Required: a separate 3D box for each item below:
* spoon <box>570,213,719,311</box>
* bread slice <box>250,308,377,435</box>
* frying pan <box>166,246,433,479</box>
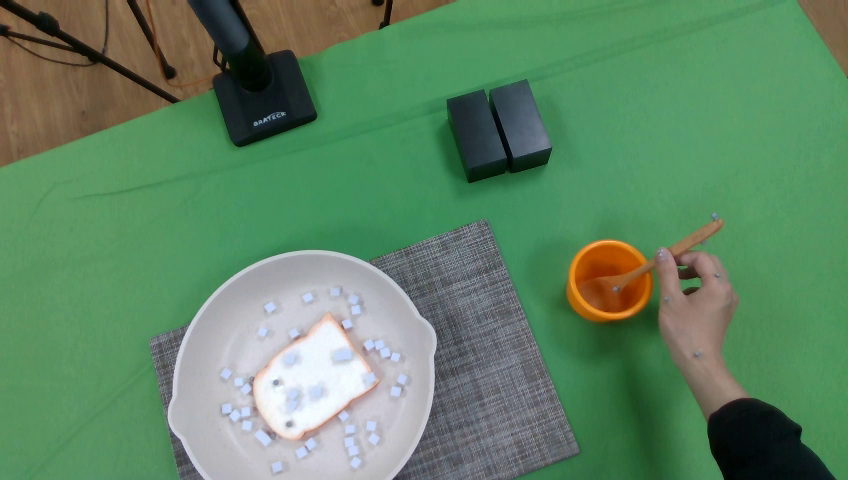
[{"bbox_3d":[0.241,0.027,0.677,0.022,0.194,0.041,-23,77,-49],"label":"spoon"},{"bbox_3d":[-0.136,0.164,0.721,0.134,0.018,0.106,-40,76,-10],"label":"bread slice"},{"bbox_3d":[-0.106,0.244,0.655,0.307,0.103,0.483,-17,66,-1],"label":"frying pan"}]
